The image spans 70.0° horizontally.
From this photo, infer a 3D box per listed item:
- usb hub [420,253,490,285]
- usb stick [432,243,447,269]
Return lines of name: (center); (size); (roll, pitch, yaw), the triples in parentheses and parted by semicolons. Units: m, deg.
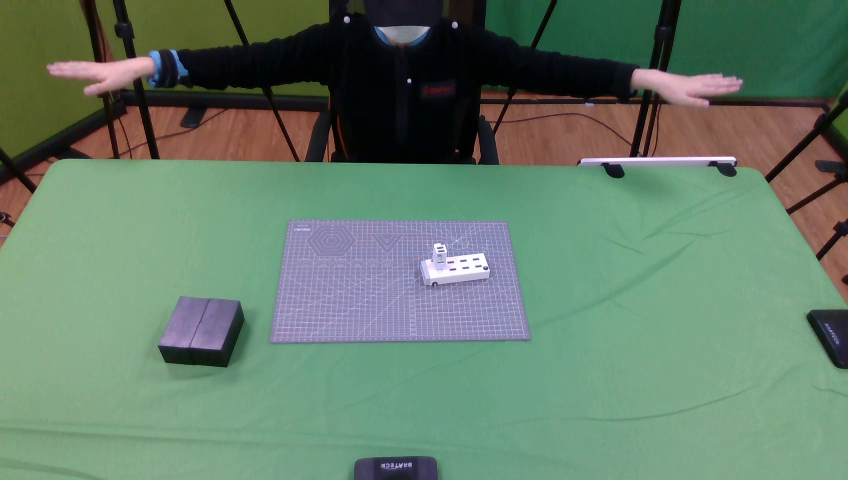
usb hub: (0.059, 0.055, 1.142); (0.125, 0.025, 0.049); (-7, 48, -10)
usb stick: (0.028, 0.034, 1.116); (0.021, 0.059, 0.027); (-8, 50, -11)
